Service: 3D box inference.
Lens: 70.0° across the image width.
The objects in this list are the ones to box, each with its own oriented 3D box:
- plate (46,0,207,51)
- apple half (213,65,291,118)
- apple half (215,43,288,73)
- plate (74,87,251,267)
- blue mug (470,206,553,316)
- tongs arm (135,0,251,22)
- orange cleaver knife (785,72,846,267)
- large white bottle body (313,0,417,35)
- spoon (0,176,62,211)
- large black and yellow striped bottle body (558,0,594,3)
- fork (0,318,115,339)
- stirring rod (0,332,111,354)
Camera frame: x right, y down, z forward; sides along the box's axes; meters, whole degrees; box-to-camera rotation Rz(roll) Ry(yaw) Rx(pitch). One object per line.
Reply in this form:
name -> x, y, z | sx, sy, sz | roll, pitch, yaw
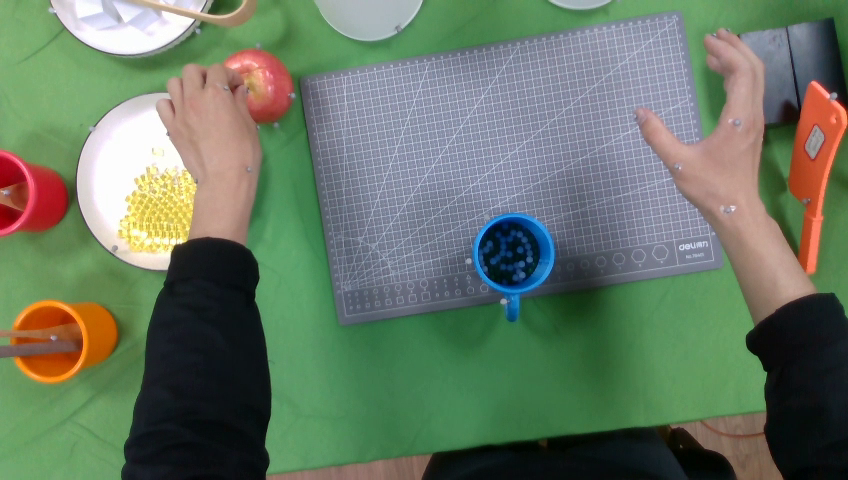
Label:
plate -> -0.344, -0.323, 0.712 | 0.207, 0.039, 0.207 | 0, 91, 3
apple half -> -0.188, -0.164, 0.679 | 0.081, 0.074, 0.053 | -8, 101, 2
apple half -> -0.192, -0.200, 0.673 | 0.081, 0.081, 0.033 | -8, 99, 4
plate -> -0.302, -0.073, 0.713 | 0.209, 0.038, 0.209 | 0, 91, 3
blue mug -> 0.092, 0.024, 0.656 | 0.082, 0.106, 0.116 | -1, 90, 3
tongs arm -> -0.382, -0.309, 0.682 | 0.384, 0.026, 0.050 | 20, 88, 5
orange cleaver knife -> 0.410, -0.070, 0.650 | 0.012, 0.076, 0.213 | -9, 121, 4
large white bottle body -> -0.073, -0.304, 0.625 | 0.130, 0.185, 0.130 | 0, 89, 4
spoon -> -0.516, -0.054, 0.672 | 0.195, 0.021, 0.041 | -2, 89, -40
large black and yellow striped bottle body -> 0.169, -0.336, 0.611 | 0.131, 0.184, 0.130 | 0, 90, 4
fork -> -0.455, 0.098, 0.667 | 0.209, 0.018, 0.028 | 8, 90, -40
stirring rod -> -0.444, 0.117, 0.669 | 0.177, 0.006, 0.014 | -1, 78, -37
